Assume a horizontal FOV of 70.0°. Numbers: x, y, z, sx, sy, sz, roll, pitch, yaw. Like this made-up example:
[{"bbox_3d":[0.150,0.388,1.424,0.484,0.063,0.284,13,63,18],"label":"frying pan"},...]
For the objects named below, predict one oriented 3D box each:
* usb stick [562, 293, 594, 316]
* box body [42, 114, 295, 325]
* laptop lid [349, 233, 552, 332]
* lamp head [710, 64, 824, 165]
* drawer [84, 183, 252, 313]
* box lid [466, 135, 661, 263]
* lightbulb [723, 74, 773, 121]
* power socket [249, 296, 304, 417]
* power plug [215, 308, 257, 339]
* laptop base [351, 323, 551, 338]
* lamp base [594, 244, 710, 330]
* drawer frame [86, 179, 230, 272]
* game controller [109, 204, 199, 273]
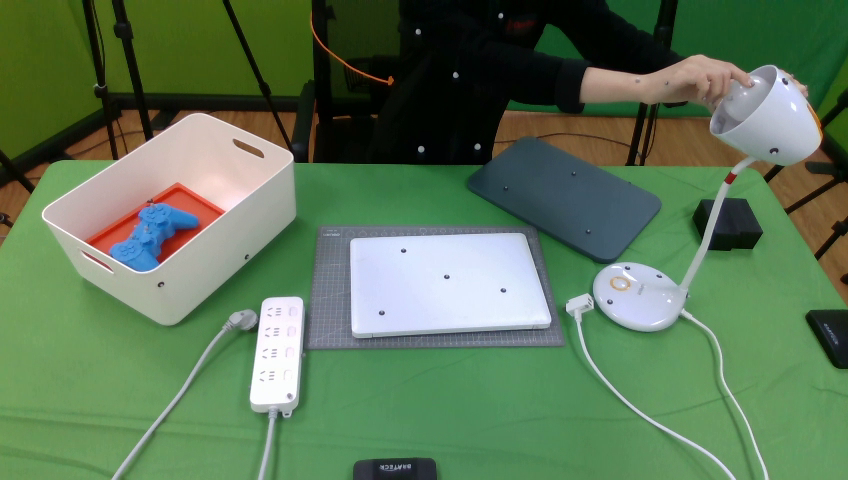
[{"bbox_3d":[0.275,0.118,1.087,0.021,0.059,0.027,39,44,-27],"label":"usb stick"},{"bbox_3d":[-0.437,-0.046,1.110,0.253,0.161,0.363,24,49,19],"label":"box body"},{"bbox_3d":[0.040,0.070,1.119,0.357,0.013,0.240,-1,44,-5],"label":"laptop lid"},{"bbox_3d":[0.465,-0.153,0.811,0.123,0.112,0.112,36,47,-13],"label":"lamp head"},{"bbox_3d":[-0.457,0.008,1.099,0.194,0.073,0.211,29,49,21],"label":"drawer"},{"bbox_3d":[0.306,-0.102,1.327,0.370,0.015,0.263,32,52,25],"label":"box lid"},{"bbox_3d":[0.448,-0.174,0.805,0.108,0.059,0.059,38,49,-8],"label":"lightbulb"},{"bbox_3d":[-0.239,0.182,0.996,0.072,0.033,0.225,-2,47,-5],"label":"power socket"},{"bbox_3d":[-0.317,0.143,1.024,0.072,0.053,0.035,-32,57,-9],"label":"power plug"},{"bbox_3d":[0.040,0.080,1.126,0.355,0.023,0.234,-2,43,-6],"label":"laptop base"},{"bbox_3d":[0.412,0.052,1.070,0.179,0.181,0.160,18,48,9],"label":"lamp base"},{"bbox_3d":[-0.453,0.010,1.100,0.201,0.083,0.213,28,54,23],"label":"drawer frame"},{"bbox_3d":[-0.467,-0.005,1.044,0.097,0.052,0.154,8,45,10],"label":"game controller"}]
